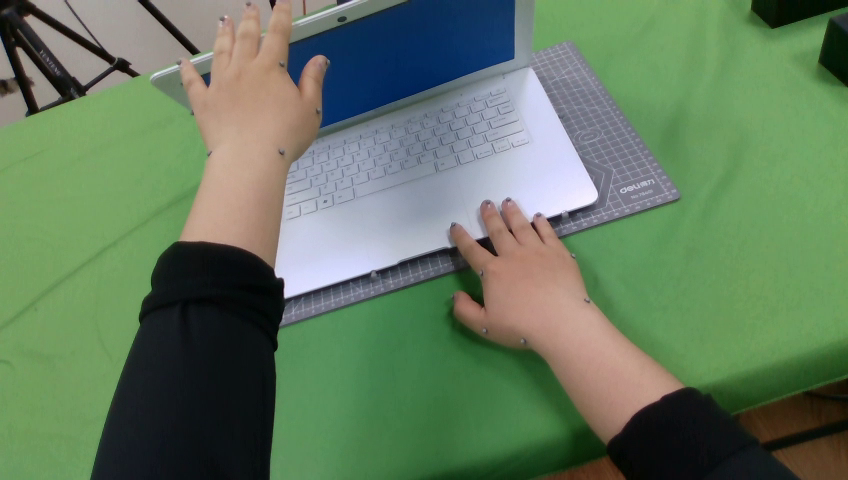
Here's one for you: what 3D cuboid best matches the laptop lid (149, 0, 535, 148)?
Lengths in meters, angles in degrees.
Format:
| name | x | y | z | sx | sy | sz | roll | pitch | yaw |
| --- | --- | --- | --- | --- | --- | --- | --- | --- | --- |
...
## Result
| name | x | y | z | sx | sy | sz | roll | pitch | yaw |
| --- | --- | --- | --- | --- | --- | --- | --- | --- | --- |
| laptop lid | -0.057 | -0.182 | 0.615 | 0.356 | 0.242 | 0.013 | -18 | 80 | 6 |

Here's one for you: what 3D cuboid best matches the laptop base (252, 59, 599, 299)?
| name | x | y | z | sx | sy | sz | roll | pitch | yaw |
| --- | --- | --- | --- | --- | --- | --- | --- | --- | --- |
| laptop base | -0.019 | -0.074 | 0.656 | 0.354 | 0.023 | 0.233 | -18 | 51 | 4 |
